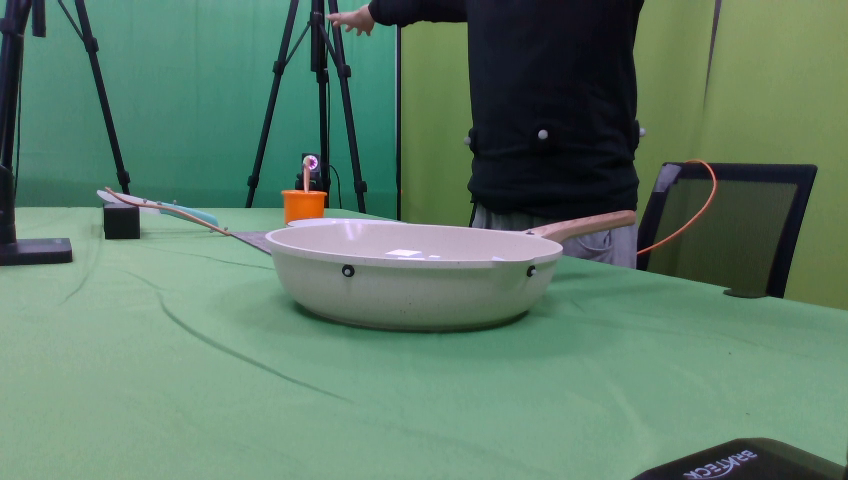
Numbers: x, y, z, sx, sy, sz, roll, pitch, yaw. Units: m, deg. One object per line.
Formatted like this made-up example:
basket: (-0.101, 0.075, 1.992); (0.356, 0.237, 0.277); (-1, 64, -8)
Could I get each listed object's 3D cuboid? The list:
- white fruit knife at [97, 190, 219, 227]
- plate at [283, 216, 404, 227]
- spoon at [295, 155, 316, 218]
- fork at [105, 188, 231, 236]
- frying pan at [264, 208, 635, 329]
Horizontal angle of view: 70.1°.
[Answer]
white fruit knife: (-0.468, -0.056, 1.079); (0.208, 0.027, 0.016); (15, -3, -29)
plate: (-0.119, -0.009, 0.968); (0.208, 0.039, 0.207); (3, 7, 0)
spoon: (-0.247, -0.108, 1.261); (0.042, 0.021, 0.193); (5, 46, -16)
fork: (-0.428, -0.046, 1.021); (0.208, 0.018, 0.028); (19, -6, -26)
frying pan: (0.075, 0.007, 0.666); (0.490, 0.102, 0.305); (-12, 15, -33)
